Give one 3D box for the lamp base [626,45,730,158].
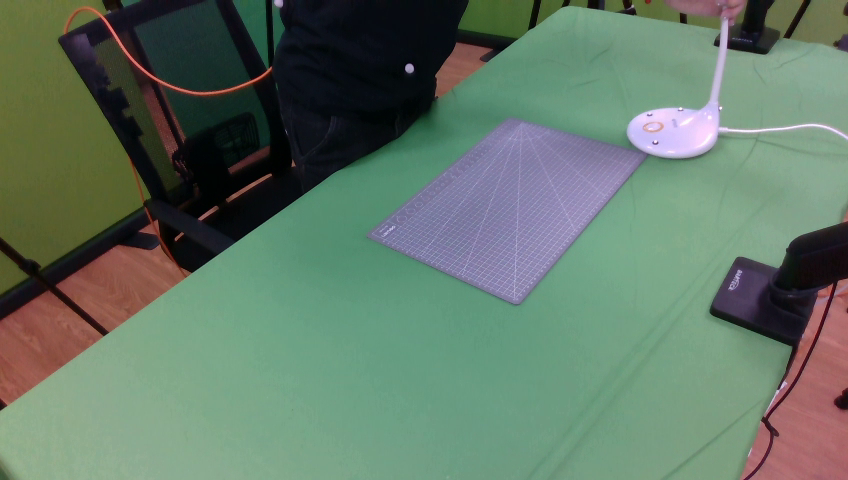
[{"bbox_3d":[0.468,-0.262,1.086,0.179,0.181,0.159,-4,41,0],"label":"lamp base"}]
